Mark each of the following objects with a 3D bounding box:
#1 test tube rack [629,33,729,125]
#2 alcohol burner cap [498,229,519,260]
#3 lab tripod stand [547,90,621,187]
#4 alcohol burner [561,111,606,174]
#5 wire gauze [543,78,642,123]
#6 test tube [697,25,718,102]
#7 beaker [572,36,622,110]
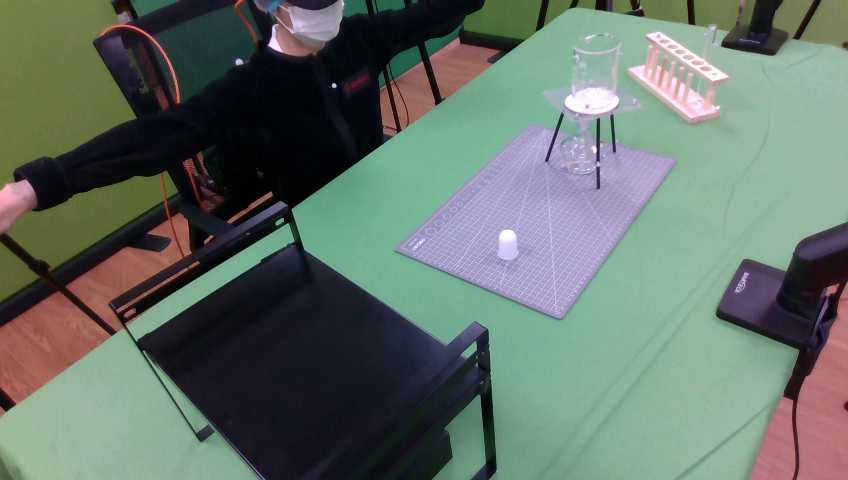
[{"bbox_3d":[0.516,-0.337,1.247,0.067,0.085,0.240,-14,41,-7],"label":"test tube rack"},{"bbox_3d":[0.131,0.004,0.938,0.034,0.048,0.033,-4,40,4],"label":"alcohol burner cap"},{"bbox_3d":[0.289,-0.184,1.062,0.148,0.132,0.147,-6,41,6],"label":"lab tripod stand"},{"bbox_3d":[0.283,-0.177,1.071,0.078,0.119,0.077,-5,42,5],"label":"alcohol burner"},{"bbox_3d":[0.282,-0.234,1.022,0.125,0.011,0.120,-17,38,-4],"label":"wire gauze"},{"bbox_3d":[0.546,-0.337,1.166,0.017,0.151,0.017,-5,36,4],"label":"test tube"},{"bbox_3d":[0.279,-0.274,0.992,0.074,0.101,0.083,-14,40,-5],"label":"beaker"}]
